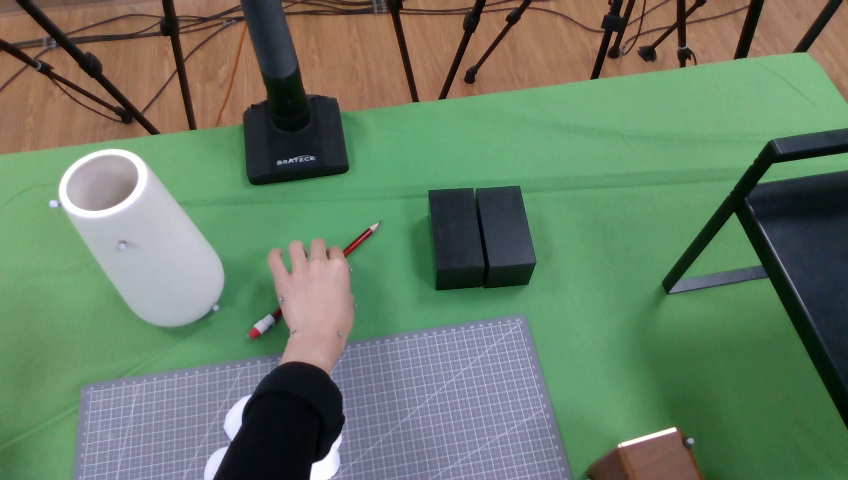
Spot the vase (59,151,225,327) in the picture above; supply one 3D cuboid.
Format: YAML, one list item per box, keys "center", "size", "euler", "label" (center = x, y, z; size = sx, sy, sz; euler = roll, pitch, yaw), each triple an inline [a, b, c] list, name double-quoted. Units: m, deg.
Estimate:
- center: [-0.258, 0.005, 0.568]
  size: [0.098, 0.201, 0.097]
  euler: [0, 58, 0]
  label: "vase"

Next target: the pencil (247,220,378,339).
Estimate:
- center: [-0.116, 0.038, 0.662]
  size: [0.012, 0.012, 0.193]
  euler: [37, 63, 19]
  label: "pencil"

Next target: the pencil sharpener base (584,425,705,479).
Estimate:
- center: [0.188, 0.212, 0.513]
  size: [0.061, 0.108, 0.076]
  euler: [-12, 61, -9]
  label: "pencil sharpener base"
